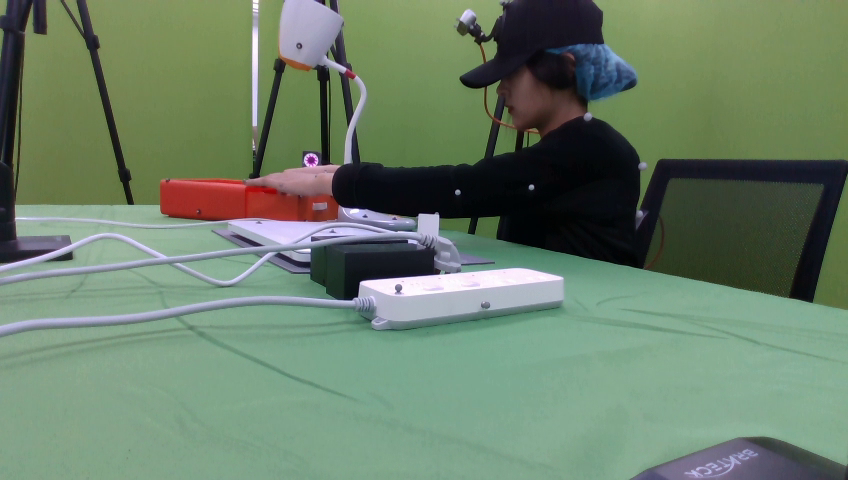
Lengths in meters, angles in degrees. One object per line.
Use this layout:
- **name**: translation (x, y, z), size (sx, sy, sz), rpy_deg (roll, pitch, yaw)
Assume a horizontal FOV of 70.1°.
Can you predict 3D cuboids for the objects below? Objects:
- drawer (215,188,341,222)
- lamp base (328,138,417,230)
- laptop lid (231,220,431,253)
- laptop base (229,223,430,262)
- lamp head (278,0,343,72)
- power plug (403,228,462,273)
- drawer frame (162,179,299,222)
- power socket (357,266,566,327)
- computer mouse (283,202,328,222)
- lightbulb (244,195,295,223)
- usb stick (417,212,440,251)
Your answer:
- **drawer**: translation (-0.312, -0.077, 1.297), size (0.211, 0.073, 0.195), rpy_deg (3, 8, 17)
- **lamp base**: translation (-0.104, -0.113, 1.213), size (0.180, 0.180, 0.160), rpy_deg (-2, 6, -14)
- **laptop lid**: translation (-0.142, -0.009, 0.942), size (0.243, 0.013, 0.355), rpy_deg (1, 7, -31)
- **laptop base**: translation (-0.145, 0.002, 0.942), size (0.237, 0.023, 0.352), rpy_deg (2, 6, -32)
- **lamp head**: translation (-0.218, -0.376, 1.125), size (0.112, 0.123, 0.112), rpy_deg (17, 10, -3)
- **power plug**: translation (0.006, 0.016, 0.647), size (0.073, 0.052, 0.035), rpy_deg (17, 12, -6)
- **drawer frame**: translation (-0.418, -0.089, 1.329), size (0.213, 0.082, 0.202), rpy_deg (4, 8, 18)
- **power socket**: translation (0.042, 0.049, 0.573), size (0.228, 0.032, 0.072), rpy_deg (-3, 8, -34)
- **computer mouse**: translation (-0.253, -0.061, 1.295), size (0.063, 0.041, 0.117), rpy_deg (2, 5, 12)
- **lightbulb**: translation (-0.329, -0.071, 1.291), size (0.108, 0.059, 0.059), rpy_deg (-13, 12, -16)
- **usb stick**: translation (0.005, -0.003, 0.722), size (0.027, 0.059, 0.021), rpy_deg (0, -3, -3)
